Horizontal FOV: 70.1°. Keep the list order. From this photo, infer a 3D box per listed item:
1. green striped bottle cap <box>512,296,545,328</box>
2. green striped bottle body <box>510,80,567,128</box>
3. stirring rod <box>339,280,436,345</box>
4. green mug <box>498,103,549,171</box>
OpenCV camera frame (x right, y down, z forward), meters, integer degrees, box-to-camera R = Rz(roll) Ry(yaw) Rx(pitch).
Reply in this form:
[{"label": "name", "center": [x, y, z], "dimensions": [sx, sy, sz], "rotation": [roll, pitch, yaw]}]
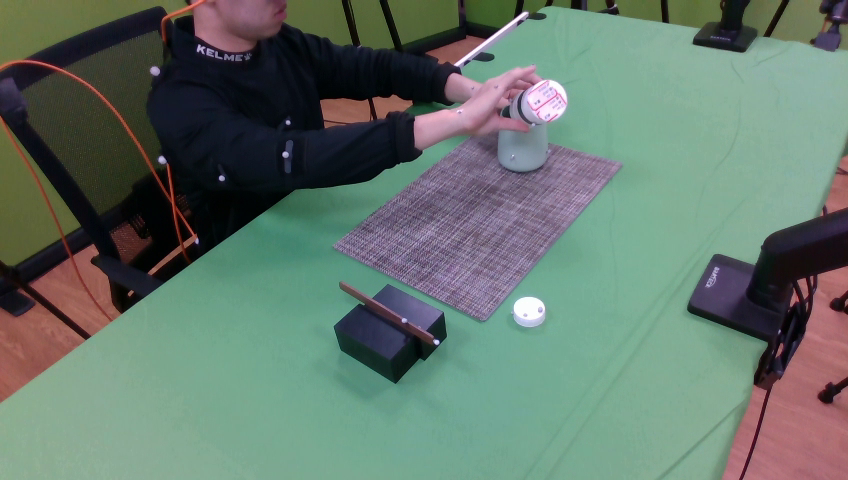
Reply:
[{"label": "green striped bottle cap", "center": [0.144, 0.099, 0.837], "dimensions": [0.044, 0.020, 0.044], "rotation": [-2, 44, 2]}, {"label": "green striped bottle body", "center": [0.179, -0.217, 0.977], "dimensions": [0.063, 0.063, 0.119], "rotation": [-16, 7, -9]}, {"label": "stirring rod", "center": [-0.052, 0.093, 0.795], "dimensions": [0.174, 0.014, 0.006], "rotation": [27, 47, 33]}, {"label": "green mug", "center": [0.182, -0.197, 1.101], "dimensions": [0.092, 0.105, 0.125], "rotation": [3, 42, 12]}]
